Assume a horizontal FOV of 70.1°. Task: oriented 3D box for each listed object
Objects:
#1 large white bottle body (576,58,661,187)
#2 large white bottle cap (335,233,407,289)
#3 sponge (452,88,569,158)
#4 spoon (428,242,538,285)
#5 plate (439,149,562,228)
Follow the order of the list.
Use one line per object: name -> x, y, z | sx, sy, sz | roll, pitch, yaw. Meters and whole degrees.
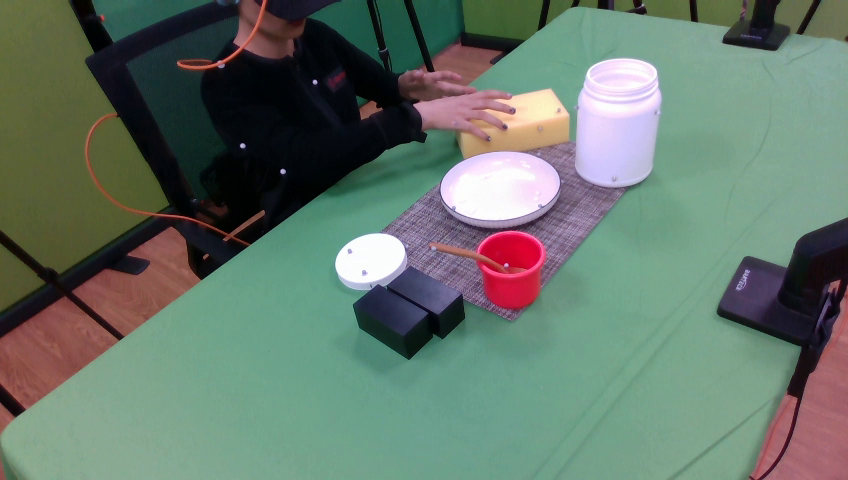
large white bottle body -> 0.326, -0.197, 1.021 | 0.130, 0.185, 0.130 | -5, 40, 5
large white bottle cap -> -0.085, 0.032, 0.961 | 0.115, 0.018, 0.114 | -6, 42, 6
sponge -> 0.167, -0.227, 1.184 | 0.207, 0.061, 0.117 | -12, 40, -4
spoon -> 0.085, 0.029, 0.831 | 0.195, 0.021, 0.041 | 22, 26, -34
plate -> 0.131, -0.085, 1.040 | 0.209, 0.038, 0.208 | -5, 40, 5
